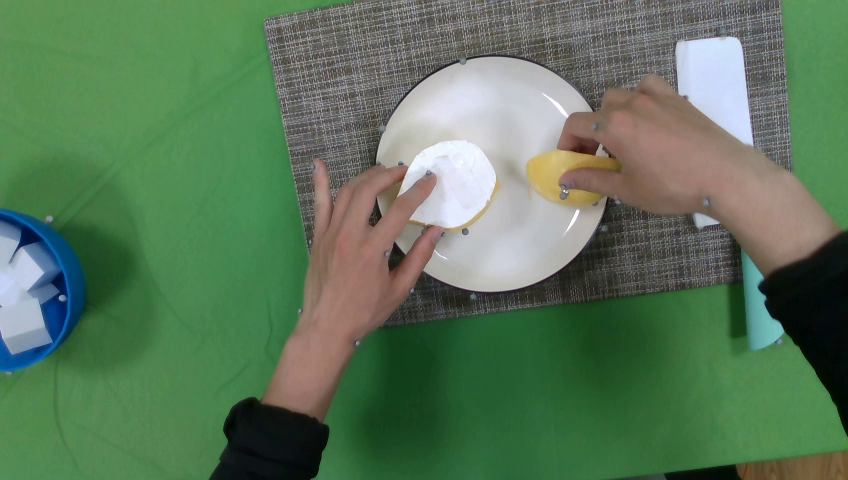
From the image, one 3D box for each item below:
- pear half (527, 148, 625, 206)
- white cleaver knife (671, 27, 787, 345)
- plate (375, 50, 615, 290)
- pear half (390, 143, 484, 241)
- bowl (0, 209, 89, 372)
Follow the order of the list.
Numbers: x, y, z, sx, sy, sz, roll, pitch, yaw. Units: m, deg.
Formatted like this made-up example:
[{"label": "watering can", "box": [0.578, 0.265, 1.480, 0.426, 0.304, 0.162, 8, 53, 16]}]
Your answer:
[{"label": "pear half", "box": [0.124, -0.047, 0.500, 0.071, 0.087, 0.031, 22, 75, -33]}, {"label": "white cleaver knife", "box": [0.271, -0.044, 0.542, 0.066, 0.021, 0.286, -11, 95, 15]}, {"label": "plate", "box": [0.062, -0.060, 0.542, 0.207, 0.039, 0.208, 1, 99, 4]}, {"label": "pear half", "box": [0.007, -0.035, 0.535, 0.110, 0.056, 0.076, -41, 79, 36]}, {"label": "bowl", "box": [-0.379, 0.041, 0.574, 0.151, 0.076, 0.151, 1, 99, 5]}]
